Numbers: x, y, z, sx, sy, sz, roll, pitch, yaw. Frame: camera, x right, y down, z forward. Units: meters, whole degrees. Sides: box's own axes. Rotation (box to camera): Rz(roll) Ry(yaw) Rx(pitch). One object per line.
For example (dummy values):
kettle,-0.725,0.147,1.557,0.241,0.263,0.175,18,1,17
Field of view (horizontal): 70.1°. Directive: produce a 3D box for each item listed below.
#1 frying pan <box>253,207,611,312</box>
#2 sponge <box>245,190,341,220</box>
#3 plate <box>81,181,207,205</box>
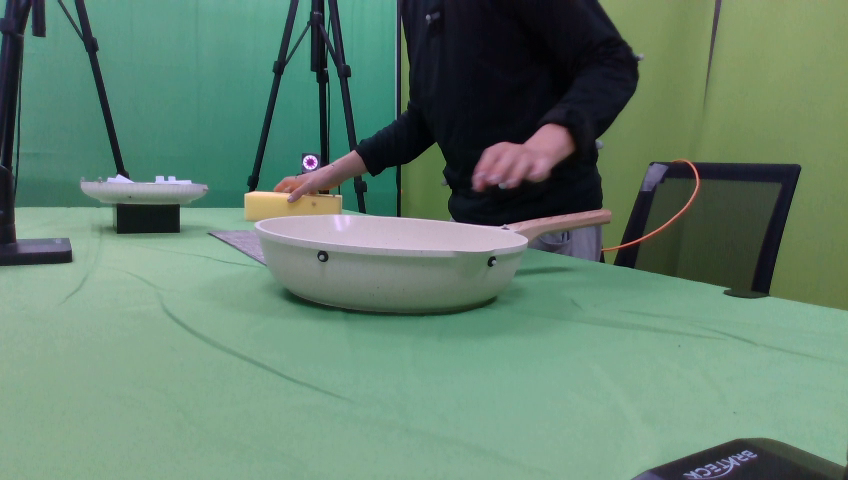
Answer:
frying pan,0.052,-0.001,0.715,0.490,0.102,0.305,-11,15,-31
sponge,-0.296,-0.077,1.388,0.207,0.061,0.118,2,7,-8
plate,-0.505,-0.086,1.100,0.208,0.039,0.207,2,6,0
